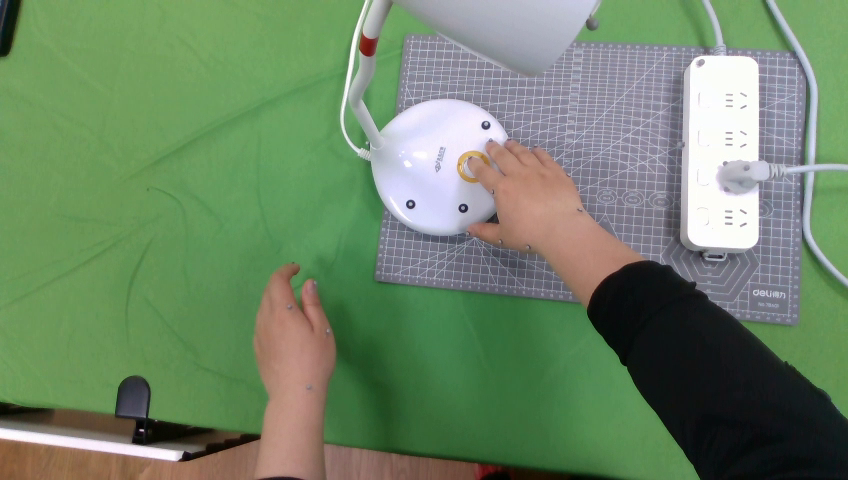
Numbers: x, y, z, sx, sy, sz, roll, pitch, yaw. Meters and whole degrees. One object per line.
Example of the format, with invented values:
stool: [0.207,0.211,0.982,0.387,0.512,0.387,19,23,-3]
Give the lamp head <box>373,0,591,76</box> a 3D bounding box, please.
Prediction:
lamp head: [0.018,-0.154,0.316,0.123,0.112,0.112,10,82,-13]

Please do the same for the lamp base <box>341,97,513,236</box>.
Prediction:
lamp base: [-0.005,-0.097,0.612,0.179,0.181,0.160,1,81,11]

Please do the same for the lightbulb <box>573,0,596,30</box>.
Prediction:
lightbulb: [0.042,-0.145,0.316,0.108,0.059,0.059,18,83,-17]

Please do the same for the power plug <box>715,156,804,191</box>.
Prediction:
power plug: [0.335,-0.064,0.616,0.072,0.053,0.035,14,84,7]

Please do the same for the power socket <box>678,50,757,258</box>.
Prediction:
power socket: [0.311,-0.095,0.643,0.072,0.033,0.226,3,81,7]
